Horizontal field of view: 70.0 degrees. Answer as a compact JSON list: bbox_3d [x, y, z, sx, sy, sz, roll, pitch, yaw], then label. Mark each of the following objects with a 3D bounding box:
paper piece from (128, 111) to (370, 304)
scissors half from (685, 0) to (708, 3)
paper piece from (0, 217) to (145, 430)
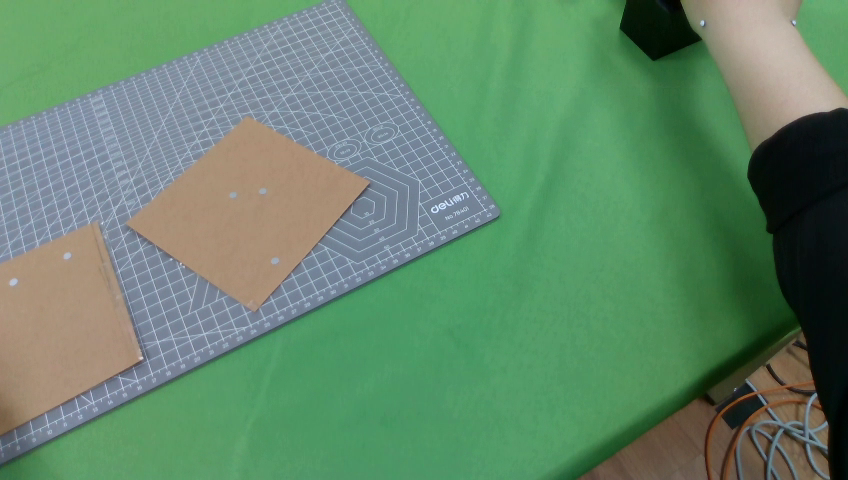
[{"bbox_3d":[-0.135,-0.033,0.471,0.135,0.004,0.135,30,65,19],"label":"paper piece"},{"bbox_3d":[0.193,-0.262,0.531,0.040,0.013,0.173,-24,60,-4],"label":"scissors half"},{"bbox_3d":[-0.278,0.059,0.425,0.138,0.009,0.134,-28,58,-11],"label":"paper piece"}]
